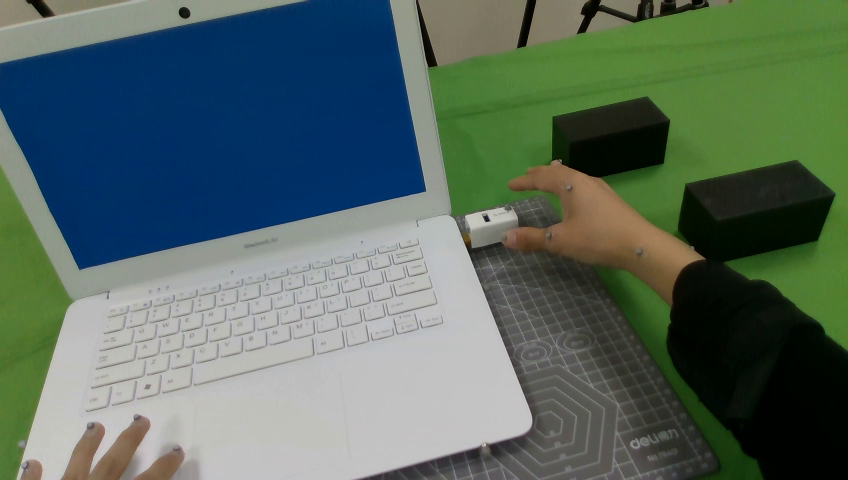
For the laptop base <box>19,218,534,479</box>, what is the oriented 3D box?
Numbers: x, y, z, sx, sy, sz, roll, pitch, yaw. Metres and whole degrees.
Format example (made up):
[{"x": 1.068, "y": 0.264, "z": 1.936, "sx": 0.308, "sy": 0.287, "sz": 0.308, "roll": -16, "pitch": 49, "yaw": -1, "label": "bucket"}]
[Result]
[{"x": -0.118, "y": 0.097, "z": 0.474, "sx": 0.355, "sy": 0.023, "sz": 0.233, "roll": -13, "pitch": 44, "yaw": -4, "label": "laptop base"}]

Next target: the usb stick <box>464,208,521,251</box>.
[{"x": 0.055, "y": -0.008, "z": 0.541, "sx": 0.059, "sy": 0.027, "sz": 0.021, "roll": -16, "pitch": 42, "yaw": -2, "label": "usb stick"}]

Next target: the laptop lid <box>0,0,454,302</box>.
[{"x": -0.162, "y": -0.081, "z": 0.508, "sx": 0.357, "sy": 0.243, "sz": 0.013, "roll": -15, "pitch": 27, "yaw": -4, "label": "laptop lid"}]
